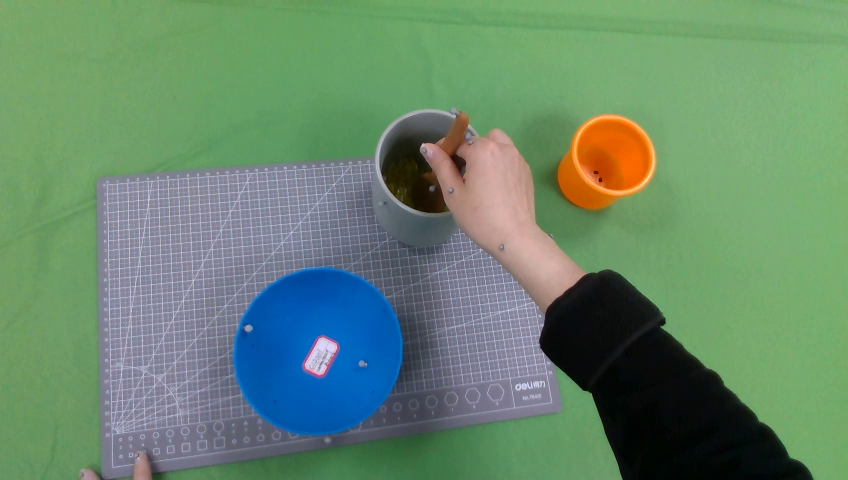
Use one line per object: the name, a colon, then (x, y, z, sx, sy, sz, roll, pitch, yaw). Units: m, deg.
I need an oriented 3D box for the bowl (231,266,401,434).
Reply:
bowl: (-0.099, 0.106, 0.579, 0.152, 0.077, 0.150, 2, 76, -7)

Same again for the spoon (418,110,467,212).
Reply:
spoon: (0.017, -0.065, 0.556, 0.021, 0.194, 0.041, -40, 82, -14)

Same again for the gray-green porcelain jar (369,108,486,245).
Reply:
gray-green porcelain jar: (-0.002, -0.056, 0.606, 0.106, 0.127, 0.105, 2, 75, -6)
